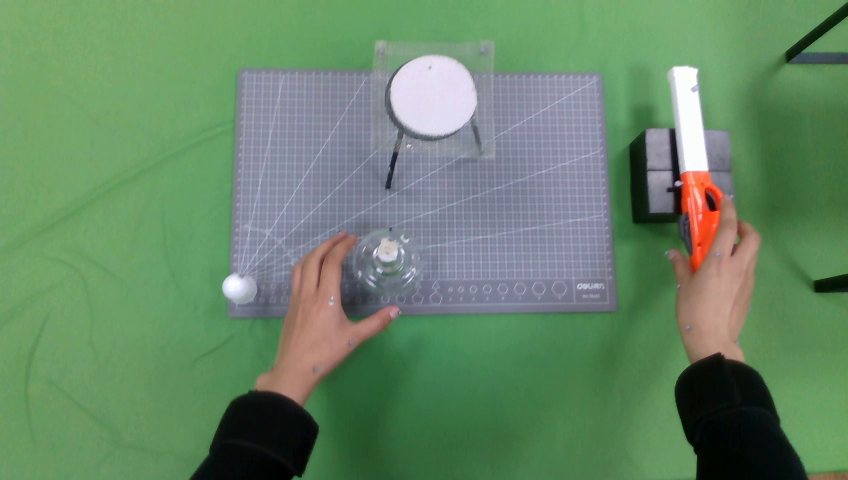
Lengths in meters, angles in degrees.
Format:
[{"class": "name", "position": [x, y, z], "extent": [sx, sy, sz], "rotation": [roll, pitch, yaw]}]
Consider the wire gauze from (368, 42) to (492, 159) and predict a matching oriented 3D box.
[{"class": "wire gauze", "position": [0.007, -0.142, 0.604], "extent": [0.125, 0.011, 0.121], "rotation": [2, 79, -3]}]

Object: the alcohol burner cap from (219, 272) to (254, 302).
[{"class": "alcohol burner cap", "position": [-0.210, 0.050, 0.670], "extent": [0.034, 0.048, 0.033], "rotation": [1, 78, -5]}]

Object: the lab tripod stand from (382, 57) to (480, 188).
[{"class": "lab tripod stand", "position": [-0.003, -0.133, 0.671], "extent": [0.148, 0.132, 0.147], "rotation": [0, 79, -2]}]

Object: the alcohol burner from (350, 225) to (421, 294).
[{"class": "alcohol burner", "position": [-0.041, 0.019, 0.651], "extent": [0.078, 0.119, 0.077], "rotation": [1, 80, -3]}]

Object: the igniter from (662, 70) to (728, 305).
[{"class": "igniter", "position": [0.305, -0.063, 0.687], "extent": [0.057, 0.025, 0.275], "rotation": [-1, 77, -8]}]
